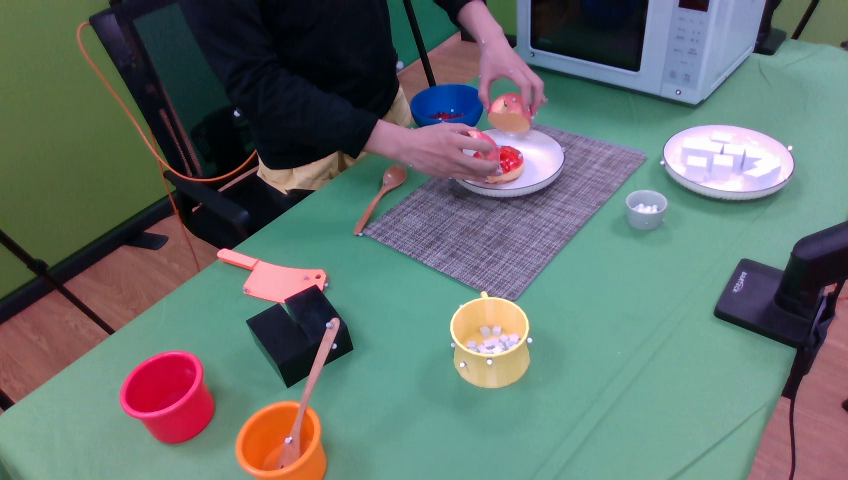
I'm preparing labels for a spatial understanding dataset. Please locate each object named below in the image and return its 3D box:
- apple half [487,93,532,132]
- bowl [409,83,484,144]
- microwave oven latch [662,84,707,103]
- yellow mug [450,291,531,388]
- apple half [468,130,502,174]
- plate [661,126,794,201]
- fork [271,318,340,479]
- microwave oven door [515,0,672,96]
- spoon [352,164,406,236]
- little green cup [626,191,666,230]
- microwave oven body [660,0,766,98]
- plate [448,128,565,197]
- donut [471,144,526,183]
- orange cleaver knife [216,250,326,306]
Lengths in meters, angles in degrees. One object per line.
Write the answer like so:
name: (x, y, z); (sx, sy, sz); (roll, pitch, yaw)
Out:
apple half: (0.160, -0.235, 1.096); (0.080, 0.075, 0.053); (5, 70, 35)
bowl: (0.048, -0.245, 1.214); (0.151, 0.077, 0.150); (-4, 40, 4)
microwave oven latch: (0.517, -0.296, 1.204); (0.078, 0.029, 0.030); (27, 52, 35)
yellow mug: (0.085, 0.120, 0.786); (0.100, 0.064, 0.130); (-7, 39, 1)
apple half: (0.106, -0.153, 0.992); (0.033, 0.082, 0.080); (-31, 41, 7)
plate: (0.513, -0.128, 1.035); (0.207, 0.039, 0.206); (-4, 40, 4)
fork: (-0.132, 0.186, 0.676); (0.028, 0.019, 0.207); (18, 90, 28)
microwave oven door: (0.343, -0.455, 1.259); (0.353, 0.245, 0.039); (26, 51, 33)
spoon: (-0.083, -0.074, 1.074); (0.041, 0.022, 0.194); (22, 46, 10)
little green cup: (0.352, -0.046, 0.963); (0.061, 0.039, 0.061); (-4, 40, 4)
microwave oven body: (0.472, -0.513, 1.317); (0.438, 0.261, 0.327); (26, 51, 34)
plate: (0.149, -0.138, 1.096); (0.209, 0.038, 0.208); (-4, 40, 4)
donut: (0.133, -0.139, 1.083); (0.099, 0.048, 0.098); (-5, 38, 5)
orange cleaver knife: (-0.248, 0.059, 0.945); (0.210, 0.012, 0.077); (13, 49, 20)
